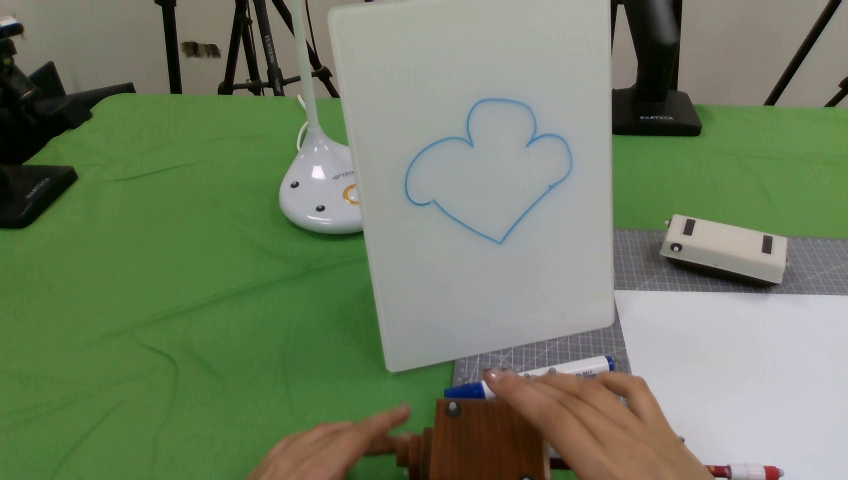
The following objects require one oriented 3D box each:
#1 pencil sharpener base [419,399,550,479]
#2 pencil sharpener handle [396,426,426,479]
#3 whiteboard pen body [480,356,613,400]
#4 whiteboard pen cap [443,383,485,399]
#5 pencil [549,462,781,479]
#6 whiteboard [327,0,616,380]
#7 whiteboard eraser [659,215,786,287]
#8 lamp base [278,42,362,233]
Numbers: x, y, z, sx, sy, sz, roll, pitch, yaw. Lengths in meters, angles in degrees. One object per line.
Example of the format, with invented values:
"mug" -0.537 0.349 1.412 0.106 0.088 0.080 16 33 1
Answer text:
"pencil sharpener base" 0.038 0.159 0.397 0.076 0.108 0.061 0 40 5
"pencil sharpener handle" -0.014 0.150 0.391 0.030 0.068 0.035 1 30 5
"whiteboard pen body" 0.091 0.117 0.506 0.141 0.017 0.017 -10 39 -8
"whiteboard pen cap" 0.033 0.129 0.497 0.033 0.018 0.018 -11 39 -8
"pencil" 0.116 0.141 0.371 0.194 0.012 0.012 0 39 4
"whiteboard" 0.042 -0.061 0.557 0.217 0.307 0.142 -10 20 -8
"whiteboard eraser" 0.300 0.012 0.611 0.112 0.042 0.055 16 43 22
"lamp base" -0.109 -0.126 0.700 0.161 0.182 0.177 -30 43 -29
